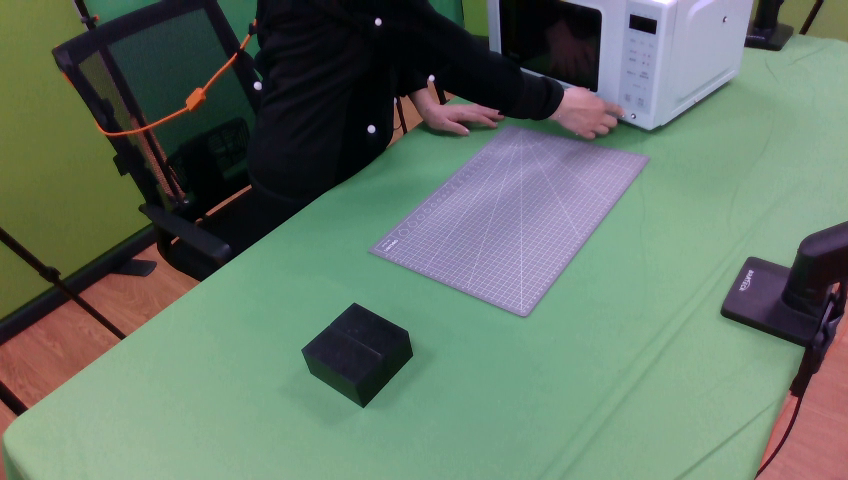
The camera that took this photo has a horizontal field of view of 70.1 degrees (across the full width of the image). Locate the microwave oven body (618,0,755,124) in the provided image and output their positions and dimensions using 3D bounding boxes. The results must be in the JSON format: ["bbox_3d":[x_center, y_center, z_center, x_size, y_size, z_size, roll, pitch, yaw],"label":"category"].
[{"bbox_3d":[0.402,-0.458,1.260,0.327,0.261,0.437,-33,45,-24],"label":"microwave oven body"}]

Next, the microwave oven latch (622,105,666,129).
[{"bbox_3d":[0.415,-0.237,1.147,0.030,0.029,0.078,-29,43,-21],"label":"microwave oven latch"}]

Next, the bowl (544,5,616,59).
[{"bbox_3d":[0.332,-0.441,1.302,0.151,0.077,0.150,-3,40,3],"label":"bowl"}]

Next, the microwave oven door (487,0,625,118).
[{"bbox_3d":[0.262,-0.409,1.221,0.039,0.245,0.352,-33,45,-25],"label":"microwave oven door"}]
